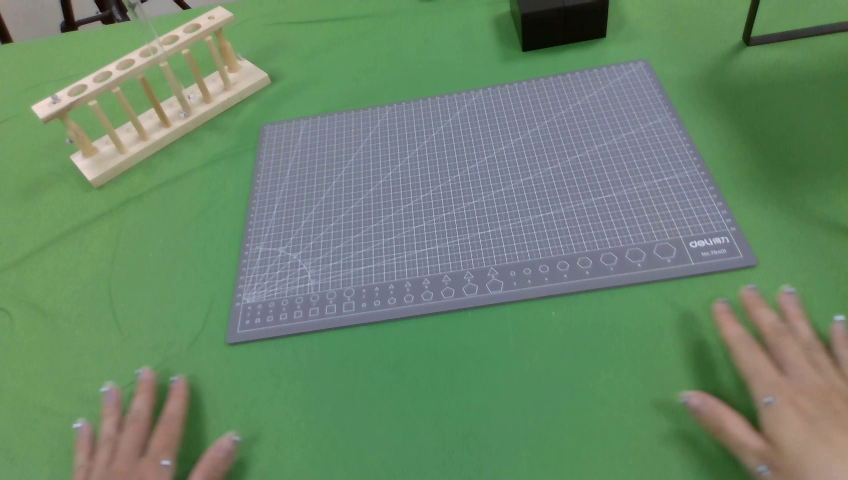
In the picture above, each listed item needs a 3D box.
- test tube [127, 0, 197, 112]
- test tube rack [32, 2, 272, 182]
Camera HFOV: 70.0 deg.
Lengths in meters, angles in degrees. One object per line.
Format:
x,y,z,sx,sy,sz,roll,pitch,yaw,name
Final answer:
-0.290,-0.207,0.672,0.017,0.152,0.017,-5,49,6,test tube
-0.308,-0.178,0.711,0.242,0.086,0.066,-38,54,-20,test tube rack
